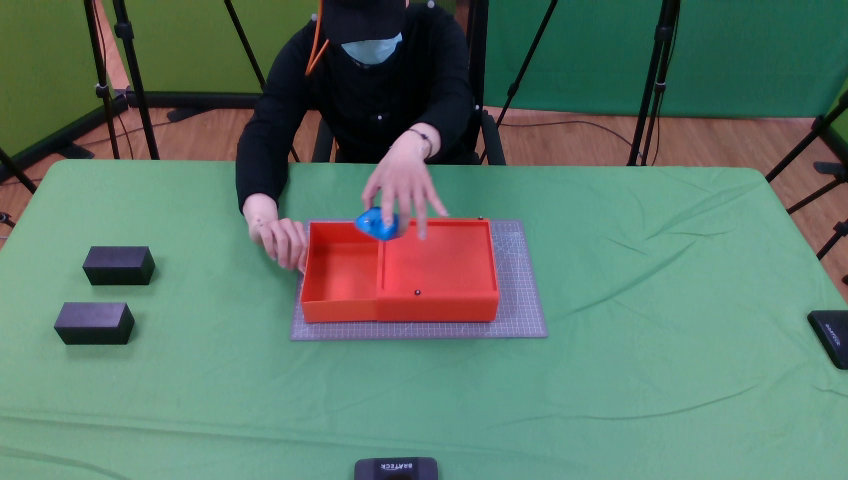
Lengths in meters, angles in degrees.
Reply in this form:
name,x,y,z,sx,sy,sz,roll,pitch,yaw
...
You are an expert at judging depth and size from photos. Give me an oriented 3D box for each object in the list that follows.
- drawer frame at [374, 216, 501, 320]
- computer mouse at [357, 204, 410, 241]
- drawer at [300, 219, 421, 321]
name,x,y,z,sx,sy,sz,roll,pitch,yaw
drawer frame,0.020,0.048,1.101,0.214,0.083,0.200,0,46,-3
computer mouse,-0.063,-0.030,0.997,0.062,0.041,0.117,29,15,10
drawer,-0.108,0.049,1.096,0.212,0.073,0.193,-1,46,-2
